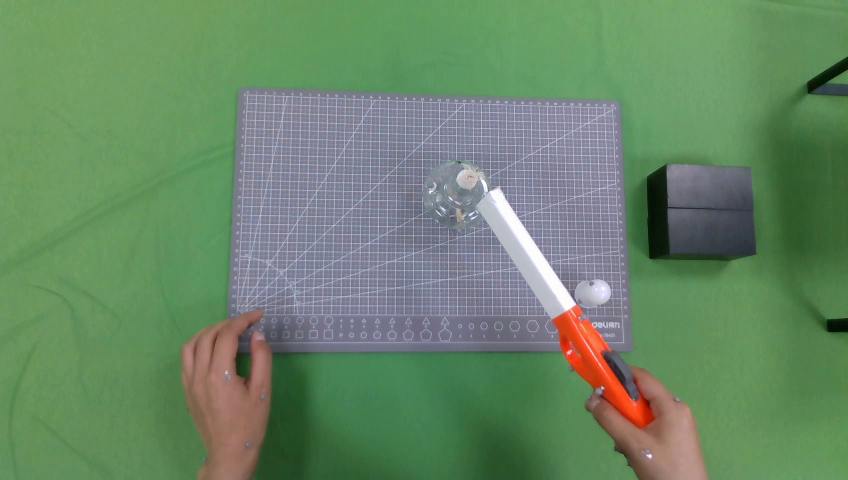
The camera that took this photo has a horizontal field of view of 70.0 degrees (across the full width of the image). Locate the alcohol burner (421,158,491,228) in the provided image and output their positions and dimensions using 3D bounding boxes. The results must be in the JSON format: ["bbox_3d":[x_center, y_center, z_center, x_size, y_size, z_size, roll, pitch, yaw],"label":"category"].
[{"bbox_3d":[0.037,-0.053,0.642,0.078,0.119,0.077,1,81,-7],"label":"alcohol burner"}]

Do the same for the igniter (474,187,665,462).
[{"bbox_3d":[0.129,0.074,0.544,0.025,0.057,0.275,-27,80,-32],"label":"igniter"}]

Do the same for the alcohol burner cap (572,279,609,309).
[{"bbox_3d":[0.188,0.059,0.674,0.034,0.048,0.033,1,80,-4],"label":"alcohol burner cap"}]
